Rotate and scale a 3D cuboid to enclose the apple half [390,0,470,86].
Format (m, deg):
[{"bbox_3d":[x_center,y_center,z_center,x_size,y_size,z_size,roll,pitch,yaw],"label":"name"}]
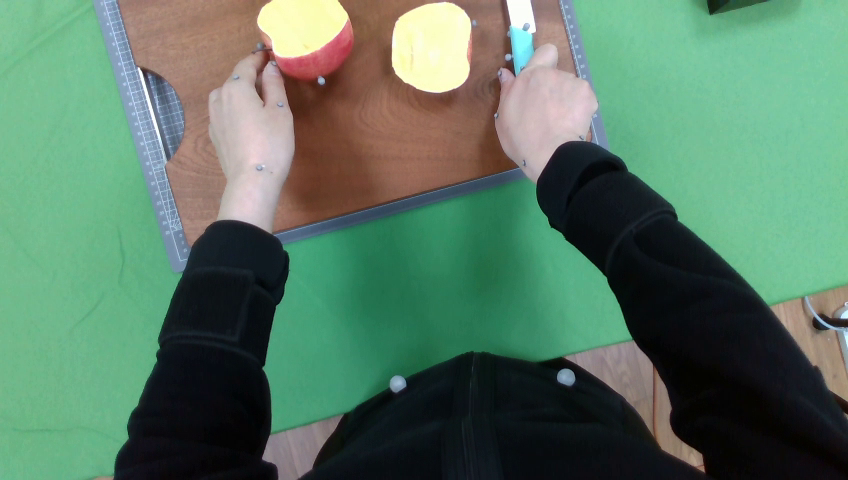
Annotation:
[{"bbox_3d":[0.008,-0.182,0.557,0.081,0.032,0.081,2,104,10],"label":"apple half"}]

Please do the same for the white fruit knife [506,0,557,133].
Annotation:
[{"bbox_3d":[0.090,-0.199,0.562,0.027,0.016,0.207,-11,88,-4],"label":"white fruit knife"}]

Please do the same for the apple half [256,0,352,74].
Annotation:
[{"bbox_3d":[-0.103,-0.183,0.541,0.074,0.054,0.080,-34,64,-8],"label":"apple half"}]
